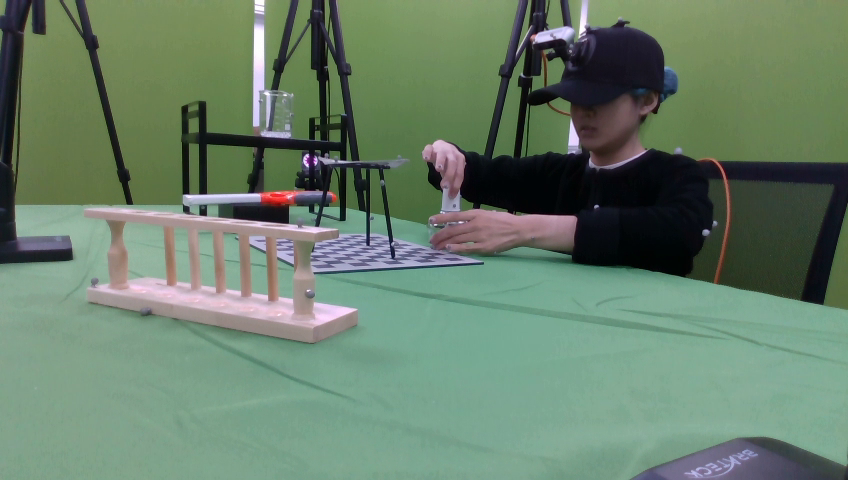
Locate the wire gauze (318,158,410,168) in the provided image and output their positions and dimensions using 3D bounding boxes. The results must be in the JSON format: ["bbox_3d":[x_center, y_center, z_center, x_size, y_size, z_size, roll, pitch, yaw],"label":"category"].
[{"bbox_3d":[-0.090,-0.114,0.888,0.122,0.011,0.124,0,6,-15],"label":"wire gauze"}]

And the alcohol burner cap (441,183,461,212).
[{"bbox_3d":[0.045,-0.068,0.975,0.034,0.048,0.034,3,9,0],"label":"alcohol burner cap"}]

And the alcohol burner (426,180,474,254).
[{"bbox_3d":[0.043,-0.037,0.980,0.078,0.119,0.078,4,9,0],"label":"alcohol burner"}]

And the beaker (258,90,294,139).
[{"bbox_3d":[-0.324,-0.274,1.331,0.083,0.100,0.074,7,9,24],"label":"beaker"}]

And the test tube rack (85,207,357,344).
[{"bbox_3d":[-0.177,0.022,0.518,0.241,0.085,0.067,6,7,23],"label":"test tube rack"}]

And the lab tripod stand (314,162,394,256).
[{"bbox_3d":[-0.098,-0.048,0.897,0.148,0.131,0.148,1,6,0],"label":"lab tripod stand"}]

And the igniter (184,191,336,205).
[{"bbox_3d":[-0.298,-0.077,1.126,0.278,0.025,0.057,-4,13,-32],"label":"igniter"}]
